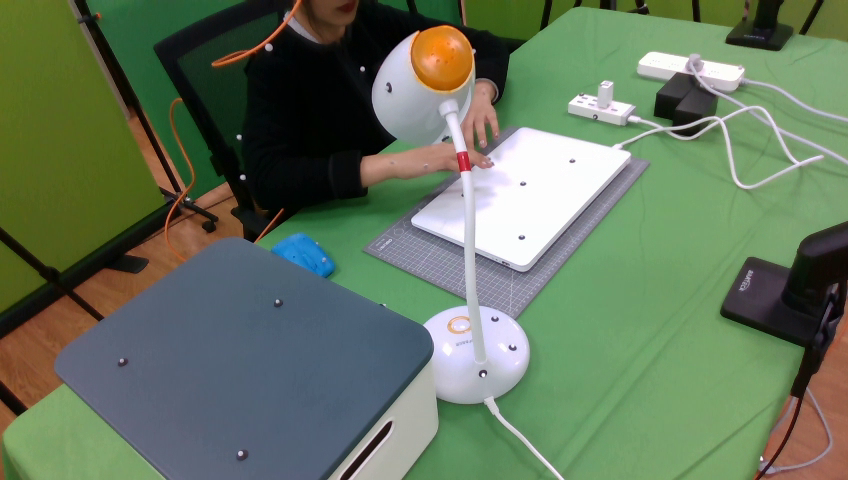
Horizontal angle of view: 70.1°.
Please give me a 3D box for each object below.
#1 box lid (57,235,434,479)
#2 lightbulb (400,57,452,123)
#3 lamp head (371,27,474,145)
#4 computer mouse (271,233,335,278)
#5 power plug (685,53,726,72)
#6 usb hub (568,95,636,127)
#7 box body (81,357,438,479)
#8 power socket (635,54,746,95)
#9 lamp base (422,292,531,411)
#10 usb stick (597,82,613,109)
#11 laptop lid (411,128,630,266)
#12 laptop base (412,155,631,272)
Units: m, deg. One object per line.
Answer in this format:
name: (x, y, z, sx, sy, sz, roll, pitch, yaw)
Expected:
box lid: (-0.198, 0.123, 0.653, 0.368, 0.015, 0.264, 22, 49, 32)
lightbulb: (0.003, -0.169, 0.668, 0.059, 0.108, 0.059, 0, 79, -2)
lamp head: (0.007, -0.167, 0.644, 0.113, 0.112, 0.122, -22, 2, -14)
computer mouse: (-0.198, 0.029, 0.981, 0.063, 0.041, 0.116, -31, 48, -26)
power plug: (0.584, -0.361, 1.260, 0.072, 0.053, 0.035, 14, 55, 16)
usb hub: (0.360, -0.263, 1.228, 0.124, 0.025, 0.049, 24, 49, 34)
box body: (-0.189, 0.179, 0.702, 0.361, 0.161, 0.255, 22, 49, 32)
power socket: (0.564, -0.357, 1.293, 0.225, 0.033, 0.072, 24, 51, 33)
lamp base: (0.054, 0.095, 0.740, 0.161, 0.181, 0.177, -19, 43, -11)
usb stick: (0.360, -0.281, 1.204, 0.021, 0.059, 0.027, 23, 49, 33)
laptop lid: (0.172, -0.093, 1.049, 0.239, 0.013, 0.358, 23, 49, 36)
laptop base: (0.176, -0.084, 1.055, 0.233, 0.023, 0.355, 21, 48, 36)
